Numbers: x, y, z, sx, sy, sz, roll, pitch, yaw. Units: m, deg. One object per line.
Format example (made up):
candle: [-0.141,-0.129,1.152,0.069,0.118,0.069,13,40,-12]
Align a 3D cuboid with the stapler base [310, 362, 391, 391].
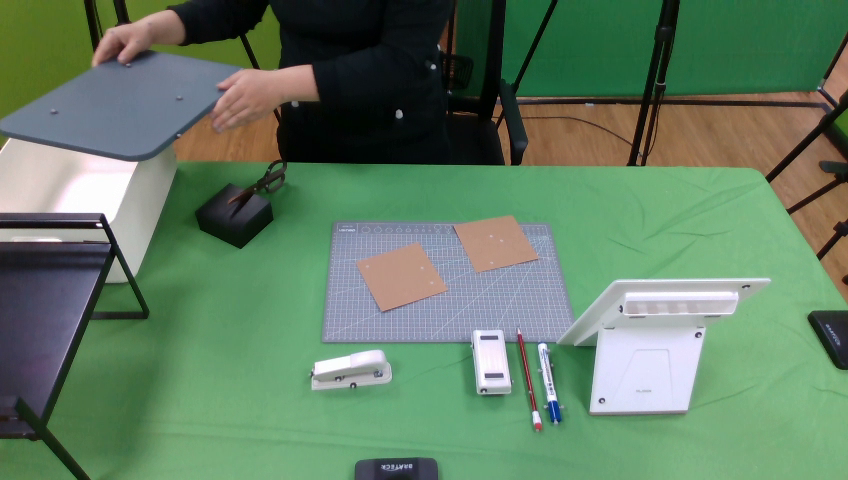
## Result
stapler base: [-0.119,0.215,0.980,0.131,0.024,0.041,-5,44,-7]

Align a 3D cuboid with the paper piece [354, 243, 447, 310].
paper piece: [-0.045,0.066,1.137,0.136,0.009,0.137,-14,47,-22]

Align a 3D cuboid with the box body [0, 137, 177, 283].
box body: [-0.639,-0.095,1.140,0.254,0.161,0.361,1,46,-4]

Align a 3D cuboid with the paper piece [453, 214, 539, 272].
paper piece: [0.142,0.002,1.213,0.135,0.004,0.135,-11,47,-14]

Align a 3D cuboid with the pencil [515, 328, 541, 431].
pencil: [0.169,0.224,1.002,0.012,0.012,0.192,-1,46,-6]

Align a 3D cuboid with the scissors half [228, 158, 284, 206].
scissors half: [-0.337,-0.117,1.219,0.013,0.040,0.174,19,45,17]

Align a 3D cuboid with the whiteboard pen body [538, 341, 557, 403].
whiteboard pen body: [0.205,0.228,0.997,0.017,0.017,0.140,1,46,-3]

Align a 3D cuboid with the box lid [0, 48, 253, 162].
box lid: [-0.487,-0.243,1.038,0.263,0.015,0.370,12,38,7]

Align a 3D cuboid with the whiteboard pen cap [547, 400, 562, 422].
whiteboard pen cap: [0.205,0.269,0.956,0.018,0.018,0.033,0,47,-5]

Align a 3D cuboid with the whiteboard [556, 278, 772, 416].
whiteboard: [0.347,0.174,0.903,0.217,0.306,0.143,1,65,-4]

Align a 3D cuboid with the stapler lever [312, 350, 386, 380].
stapler lever: [-0.120,0.198,0.963,0.118,0.040,0.026,-4,44,-8]

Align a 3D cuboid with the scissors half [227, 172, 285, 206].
scissors half: [-0.338,-0.100,1.231,0.013,0.040,0.175,15,27,21]

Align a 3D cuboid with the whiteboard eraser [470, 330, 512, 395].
whiteboard eraser: [0.110,0.202,0.998,0.055,0.042,0.112,1,46,-5]
